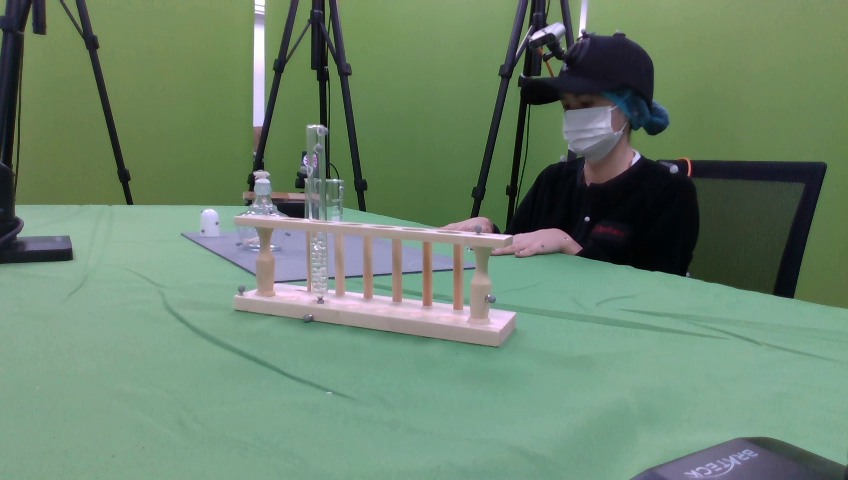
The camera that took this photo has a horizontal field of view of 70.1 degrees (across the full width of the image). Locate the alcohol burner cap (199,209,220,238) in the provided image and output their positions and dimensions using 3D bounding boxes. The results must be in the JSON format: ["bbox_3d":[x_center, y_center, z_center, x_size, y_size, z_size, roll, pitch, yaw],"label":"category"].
[{"bbox_3d":[-0.356,-0.027,1.002,0.034,0.048,0.034,2,7,0],"label":"alcohol burner cap"}]

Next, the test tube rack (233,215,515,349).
[{"bbox_3d":[-0.045,0.029,0.526,0.242,0.085,0.067,5,8,19],"label":"test tube rack"}]

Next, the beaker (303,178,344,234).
[{"bbox_3d":[-0.189,-0.063,1.119,0.073,0.100,0.084,6,9,28],"label":"beaker"}]

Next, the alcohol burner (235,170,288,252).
[{"bbox_3d":[-0.236,-0.042,0.882,0.078,0.119,0.078,2,9,0],"label":"alcohol burner"}]

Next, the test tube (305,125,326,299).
[{"bbox_3d":[-0.093,-0.023,0.520,0.017,0.150,0.017,0,7,0],"label":"test tube"}]

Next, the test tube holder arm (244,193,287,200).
[{"bbox_3d":[-0.322,-0.089,1.233,0.088,0.015,0.010,-3,4,-32],"label":"test tube holder arm"}]

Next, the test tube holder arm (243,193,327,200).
[{"bbox_3d":[-0.287,-0.091,1.262,0.179,0.015,0.013,-3,4,-33],"label":"test tube holder arm"}]
